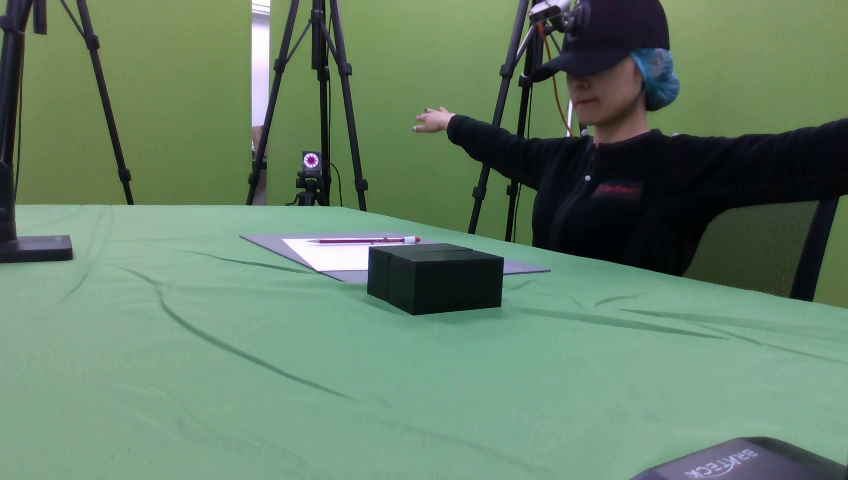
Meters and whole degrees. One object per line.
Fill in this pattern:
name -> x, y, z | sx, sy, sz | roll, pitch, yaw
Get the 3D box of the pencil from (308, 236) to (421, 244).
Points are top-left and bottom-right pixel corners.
pencil -> -0.093, 0.000, 0.982 | 0.195, 0.012, 0.012 | -1, 8, -27
